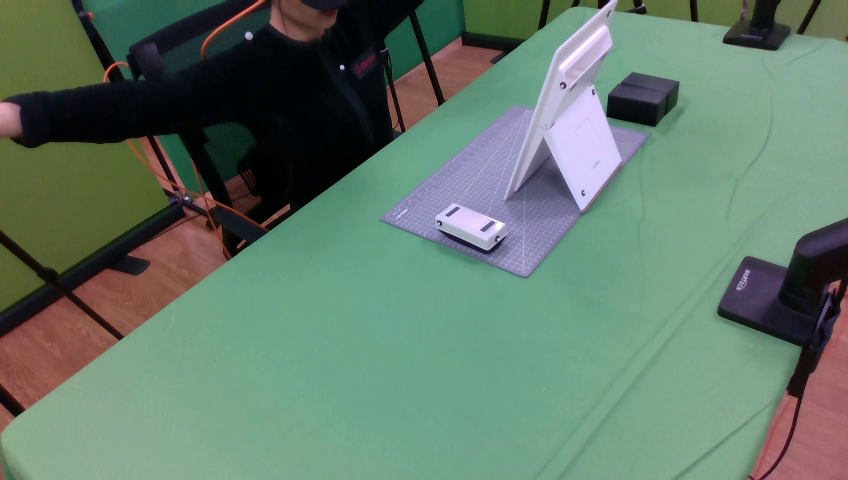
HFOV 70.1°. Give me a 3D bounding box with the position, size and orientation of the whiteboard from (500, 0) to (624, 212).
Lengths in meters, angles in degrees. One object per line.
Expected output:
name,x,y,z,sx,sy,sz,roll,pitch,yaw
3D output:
whiteboard,0.271,-0.189,0.977,0.143,0.306,0.218,34,54,16

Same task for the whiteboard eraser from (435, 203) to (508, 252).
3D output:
whiteboard eraser,0.075,-0.019,0.970,0.112,0.042,0.056,25,51,34
